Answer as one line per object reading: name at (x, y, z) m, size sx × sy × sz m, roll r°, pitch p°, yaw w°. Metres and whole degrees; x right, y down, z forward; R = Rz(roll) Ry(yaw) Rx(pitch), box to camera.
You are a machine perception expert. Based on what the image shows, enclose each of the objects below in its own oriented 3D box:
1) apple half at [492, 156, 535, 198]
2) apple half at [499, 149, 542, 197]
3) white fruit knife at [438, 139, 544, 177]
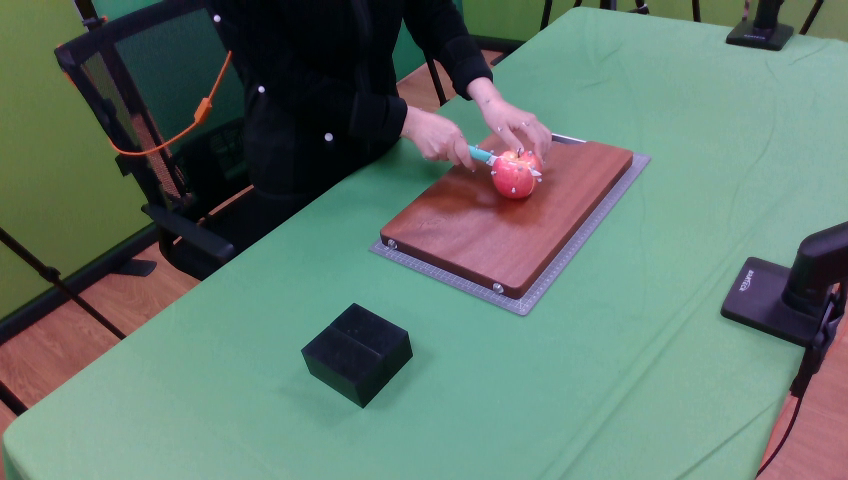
apple half at (0.140, -0.095, 0.986) m, size 0.080 × 0.081 × 0.033 m, roll 20°, pitch 49°, yaw 30°
apple half at (0.162, -0.116, 1.009) m, size 0.080 × 0.075 × 0.053 m, roll 15°, pitch 41°, yaw 32°
white fruit knife at (0.107, -0.136, 1.004) m, size 0.206 × 0.027 × 0.016 m, roll 21°, pitch 53°, yaw 30°
